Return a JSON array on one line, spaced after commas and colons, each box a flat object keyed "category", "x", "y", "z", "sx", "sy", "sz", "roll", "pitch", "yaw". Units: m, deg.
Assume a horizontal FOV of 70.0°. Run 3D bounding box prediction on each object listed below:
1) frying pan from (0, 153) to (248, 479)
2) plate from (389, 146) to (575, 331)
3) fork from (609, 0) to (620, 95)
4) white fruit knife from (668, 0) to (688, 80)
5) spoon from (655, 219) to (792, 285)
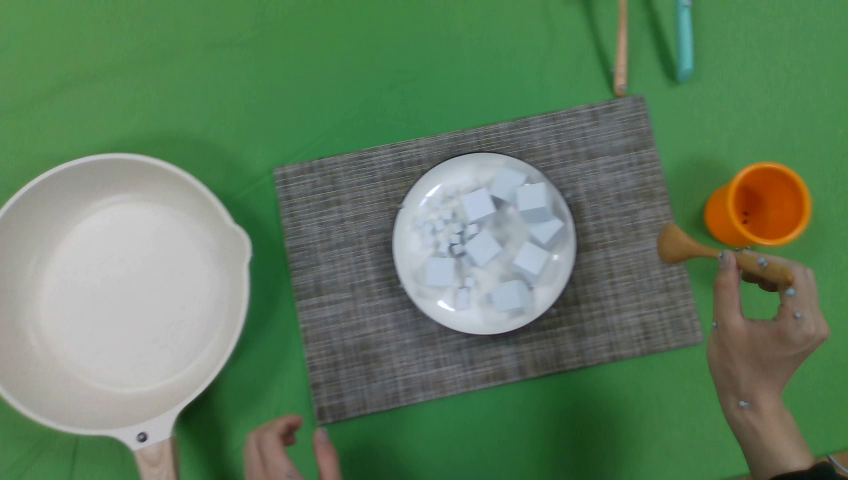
[{"category": "frying pan", "x": -0.298, "y": 0.149, "z": 0.634, "sx": 0.307, "sy": 0.103, "sz": 0.485, "roll": -19, "pitch": 76, "yaw": -2}, {"category": "plate", "x": 0.064, "y": -0.001, "z": 0.687, "sx": 0.208, "sy": 0.039, "sz": 0.207, "roll": 0, "pitch": 84, "yaw": -1}, {"category": "fork", "x": 0.220, "y": -0.275, "z": 0.703, "sx": 0.028, "sy": 0.018, "sz": 0.208, "roll": -7, "pitch": 102, "yaw": -7}, {"category": "white fruit knife", "x": 0.290, "y": -0.294, "z": 0.706, "sx": 0.016, "sy": 0.027, "sz": 0.208, "roll": -9, "pitch": 99, "yaw": -3}, {"category": "spoon", "x": 0.245, "y": 0.010, "z": 0.515, "sx": 0.022, "sy": 0.193, "sz": 0.042, "roll": 0, "pitch": 98, "yaw": -10}]
